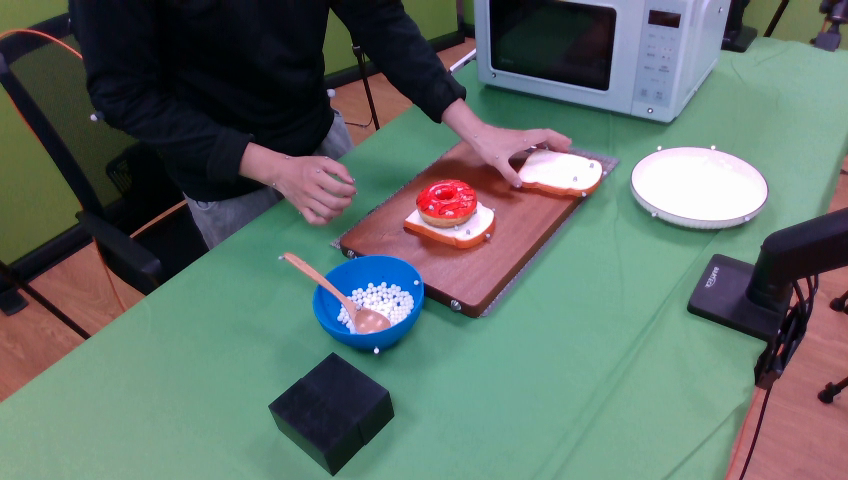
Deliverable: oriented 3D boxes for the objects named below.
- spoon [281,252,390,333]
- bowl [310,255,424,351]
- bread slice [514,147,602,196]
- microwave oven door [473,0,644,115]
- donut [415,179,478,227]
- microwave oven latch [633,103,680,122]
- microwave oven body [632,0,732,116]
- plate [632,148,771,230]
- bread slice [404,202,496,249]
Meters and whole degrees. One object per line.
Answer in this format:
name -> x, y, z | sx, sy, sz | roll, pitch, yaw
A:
spoon -> -0.122, 0.070, 0.811 | 0.193, 0.022, 0.042 | 38, 63, 16
bowl -> -0.072, 0.098, 0.821 | 0.151, 0.077, 0.150 | -4, 40, 4
bread slice -> 0.232, -0.115, 1.026 | 0.133, 0.018, 0.107 | 13, 45, 20
microwave oven door -> 0.257, -0.396, 1.199 | 0.353, 0.245, 0.039 | 21, 48, 29
donut -> 0.036, -0.058, 0.944 | 0.099, 0.048, 0.098 | -5, 40, 4
microwave oven latch -> 0.444, -0.249, 1.157 | 0.078, 0.029, 0.030 | 21, 49, 30
microwave oven body -> 0.377, -0.462, 1.267 | 0.438, 0.261, 0.327 | 21, 49, 30
plate -> 0.447, -0.081, 0.988 | 0.207, 0.039, 0.206 | -4, 40, 4
bread slice -> 0.048, -0.034, 0.961 | 0.130, 0.019, 0.105 | 22, 49, 32
